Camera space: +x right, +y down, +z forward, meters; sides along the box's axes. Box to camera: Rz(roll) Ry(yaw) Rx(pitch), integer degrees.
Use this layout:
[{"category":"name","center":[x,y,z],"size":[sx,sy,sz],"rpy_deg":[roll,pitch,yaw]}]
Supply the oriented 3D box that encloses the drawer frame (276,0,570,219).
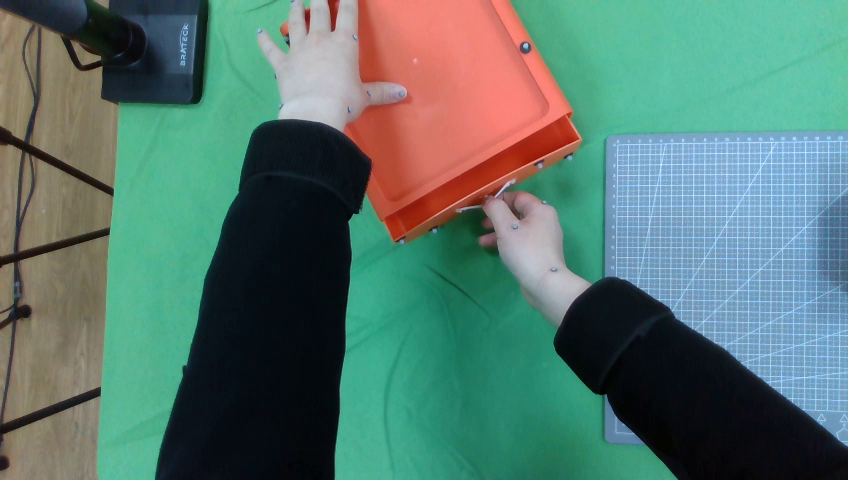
[{"category":"drawer frame","center":[-0.002,-0.156,0.583],"size":[0.201,0.083,0.213],"rpy_deg":[-30,85,7]}]

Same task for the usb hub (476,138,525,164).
[{"category":"usb hub","center":[0.032,-0.096,0.594],"size":[0.125,0.025,0.049],"rpy_deg":[-14,88,14]}]

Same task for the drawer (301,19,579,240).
[{"category":"drawer","center":[0.011,-0.134,0.583],"size":[0.194,0.073,0.211],"rpy_deg":[-28,85,8]}]
